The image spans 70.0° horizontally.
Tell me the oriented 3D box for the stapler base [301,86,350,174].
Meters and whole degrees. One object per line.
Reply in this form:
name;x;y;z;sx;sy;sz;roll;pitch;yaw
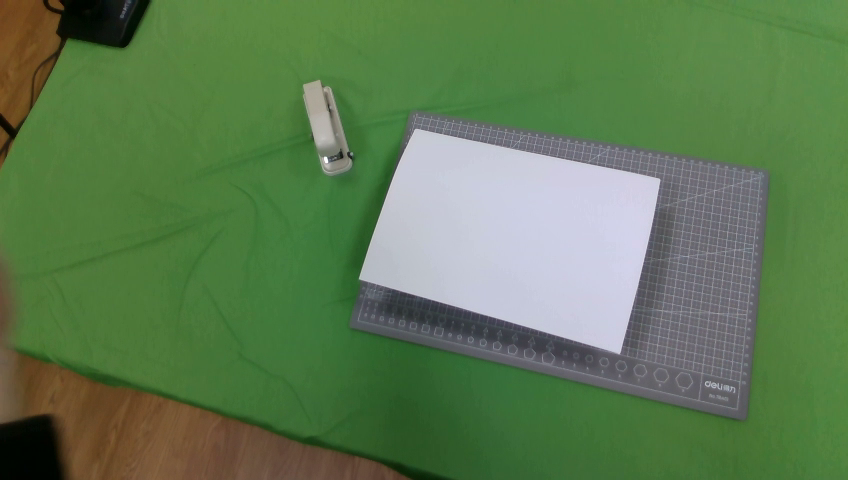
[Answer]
stapler base;-0.131;-0.150;0.796;0.041;0.024;0.129;-16;69;-4

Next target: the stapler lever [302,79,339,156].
stapler lever;-0.134;-0.159;0.774;0.027;0.040;0.117;-16;71;-4
